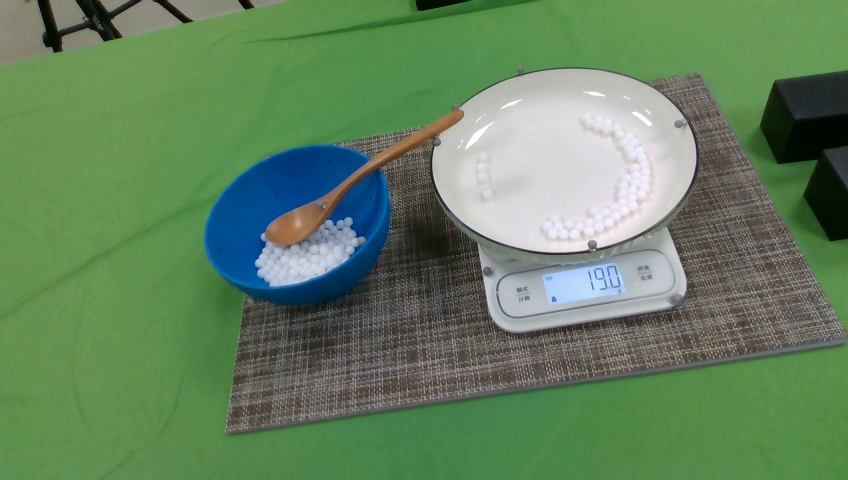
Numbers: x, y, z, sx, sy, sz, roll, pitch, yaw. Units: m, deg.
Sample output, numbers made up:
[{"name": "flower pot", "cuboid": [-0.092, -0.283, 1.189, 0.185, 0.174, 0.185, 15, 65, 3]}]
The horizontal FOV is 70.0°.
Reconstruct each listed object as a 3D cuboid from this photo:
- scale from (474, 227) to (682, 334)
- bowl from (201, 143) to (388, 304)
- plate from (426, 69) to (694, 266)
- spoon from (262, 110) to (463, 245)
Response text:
[{"name": "scale", "cuboid": [0.113, -0.022, 0.505, 0.148, 0.032, 0.199, -10, 52, 5]}, {"name": "bowl", "cuboid": [-0.096, -0.001, 0.505, 0.151, 0.077, 0.150, -6, 51, 8]}, {"name": "plate", "cuboid": [0.106, -0.060, 0.493, 0.209, 0.038, 0.207, -6, 52, 7]}, {"name": "spoon", "cuboid": [-0.052, -0.051, 0.490, 0.194, 0.022, 0.041, -33, 42, 15]}]
